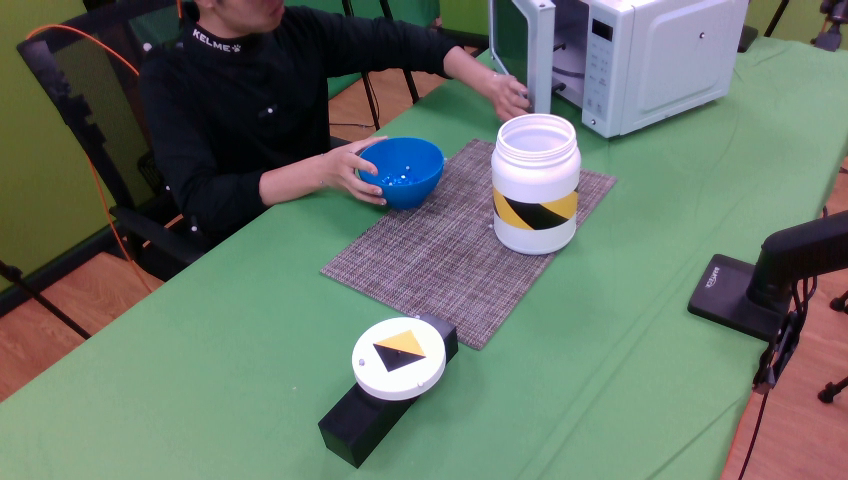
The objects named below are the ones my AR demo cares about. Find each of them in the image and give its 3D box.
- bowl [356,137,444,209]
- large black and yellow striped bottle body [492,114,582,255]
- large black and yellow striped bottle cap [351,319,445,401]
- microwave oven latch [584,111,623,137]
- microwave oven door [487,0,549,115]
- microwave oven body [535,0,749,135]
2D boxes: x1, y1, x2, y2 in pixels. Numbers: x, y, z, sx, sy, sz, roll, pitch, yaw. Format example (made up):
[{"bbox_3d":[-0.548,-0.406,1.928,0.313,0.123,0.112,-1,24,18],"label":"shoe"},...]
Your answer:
[{"bbox_3d":[-0.038,-0.107,1.049,0.151,0.077,0.150,-2,41,2],"label":"bowl"},{"bbox_3d":[0.169,-0.083,0.912,0.131,0.185,0.130,-4,41,4],"label":"large black and yellow striped bottle body"},{"bbox_3d":[-0.031,0.143,0.735,0.115,0.019,0.114,-3,40,3],"label":"large black and yellow striped bottle cap"},{"bbox_3d":[0.337,-0.222,1.142,0.030,0.029,0.078,-21,42,-14],"label":"microwave oven latch"},{"bbox_3d":[0.186,-0.407,1.222,0.039,0.245,0.353,-11,41,-4],"label":"microwave oven door"},{"bbox_3d":[0.382,-0.444,1.246,0.327,0.261,0.437,-22,42,-16],"label":"microwave oven body"}]
